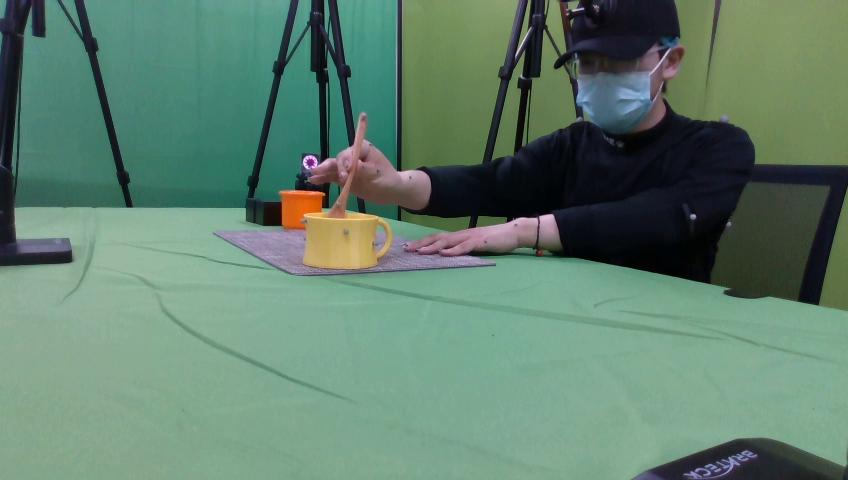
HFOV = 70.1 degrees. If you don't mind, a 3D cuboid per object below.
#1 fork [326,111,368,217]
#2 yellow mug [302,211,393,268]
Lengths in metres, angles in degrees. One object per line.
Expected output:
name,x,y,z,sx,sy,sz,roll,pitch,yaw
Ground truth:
fork,-0.106,-0.086,0.833,0.028,0.207,0.018,22,-16,-30
yellow mug,-0.098,-0.003,0.810,0.131,0.064,0.099,-2,8,-37
